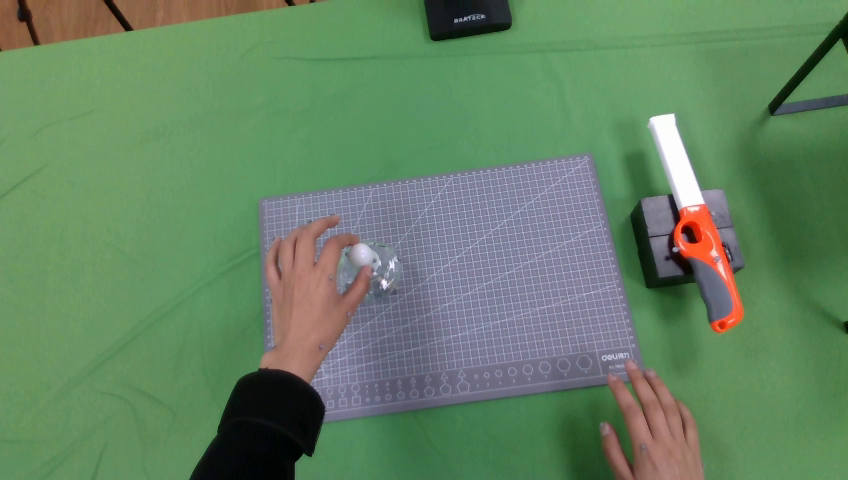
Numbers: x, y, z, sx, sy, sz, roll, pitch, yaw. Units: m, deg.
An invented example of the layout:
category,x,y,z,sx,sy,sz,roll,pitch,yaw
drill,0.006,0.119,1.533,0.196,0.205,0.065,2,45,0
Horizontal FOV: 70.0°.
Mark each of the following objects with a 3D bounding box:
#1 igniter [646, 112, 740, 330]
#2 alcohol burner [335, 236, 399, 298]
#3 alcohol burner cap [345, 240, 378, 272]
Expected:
category,x,y,z,sx,sy,sz,roll,pitch,yaw
igniter,0.314,-0.030,0.712,0.057,0.025,0.274,-9,68,1
alcohol burner,-0.069,0.027,0.713,0.078,0.120,0.077,0,70,1
alcohol burner cap,-0.072,0.016,0.679,0.034,0.048,0.033,-1,78,7
